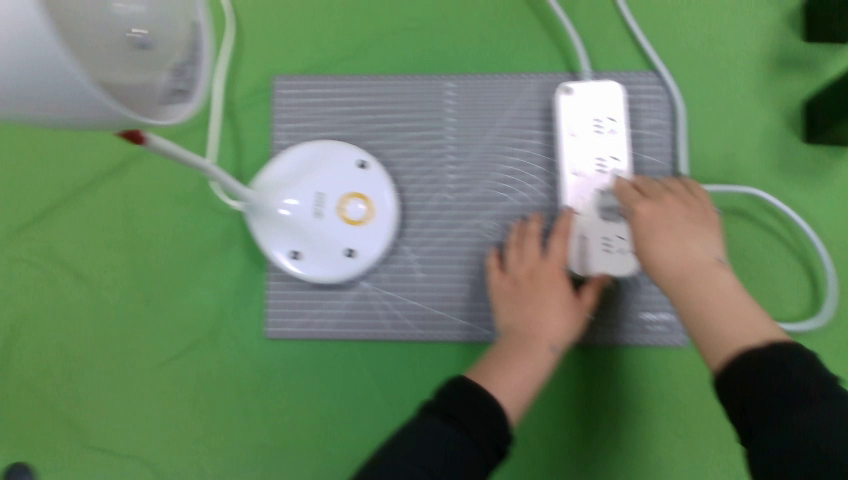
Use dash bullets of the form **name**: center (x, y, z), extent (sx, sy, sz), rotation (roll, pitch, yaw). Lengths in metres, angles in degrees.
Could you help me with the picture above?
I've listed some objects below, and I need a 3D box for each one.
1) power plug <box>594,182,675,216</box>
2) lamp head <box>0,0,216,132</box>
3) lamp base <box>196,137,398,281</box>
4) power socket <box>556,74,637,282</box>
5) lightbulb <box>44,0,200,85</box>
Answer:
- **power plug**: center (0.212, -0.039, 0.623), extent (0.072, 0.053, 0.035), rotation (12, 82, -1)
- **lamp head**: center (-0.170, -0.096, 0.265), extent (0.122, 0.113, 0.112), rotation (-7, 81, 18)
- **lamp base**: center (-0.127, -0.046, 0.587), extent (0.179, 0.181, 0.160), rotation (-6, 81, 6)
- **power socket**: center (0.182, -0.069, 0.646), extent (0.072, 0.033, 0.226), rotation (-2, 82, 2)
- **lightbulb**: center (-0.147, -0.095, 0.253), extent (0.107, 0.060, 0.059), rotation (2, 82, 12)
